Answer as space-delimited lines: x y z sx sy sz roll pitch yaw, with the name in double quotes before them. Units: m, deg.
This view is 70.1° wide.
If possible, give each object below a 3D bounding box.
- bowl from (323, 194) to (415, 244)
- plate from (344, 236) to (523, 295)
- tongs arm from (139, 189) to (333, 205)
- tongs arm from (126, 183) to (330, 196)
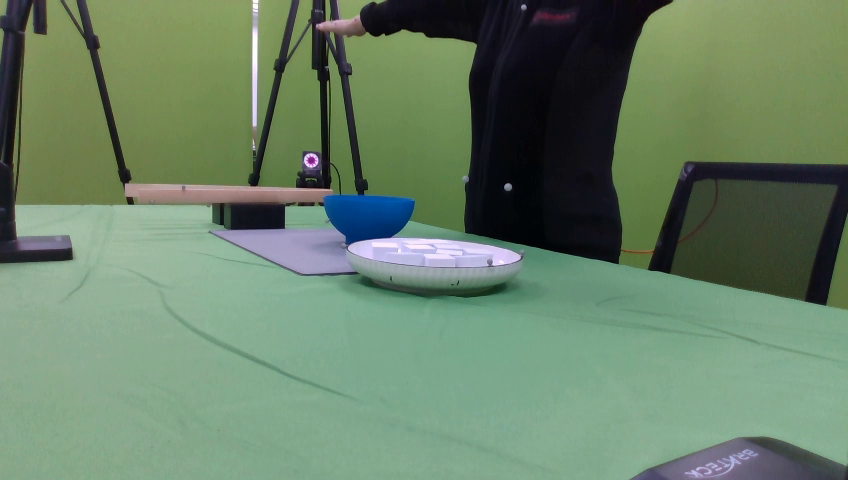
"bowl" -0.091 -0.032 0.986 0.151 0.077 0.151 2 7 0
"plate" 0.010 0.030 0.707 0.208 0.039 0.207 3 8 0
"tongs arm" -0.336 -0.084 1.146 0.387 0.026 0.050 -3 9 -38
"tongs arm" -0.380 -0.096 1.211 0.389 0.028 0.028 -1 4 -25
